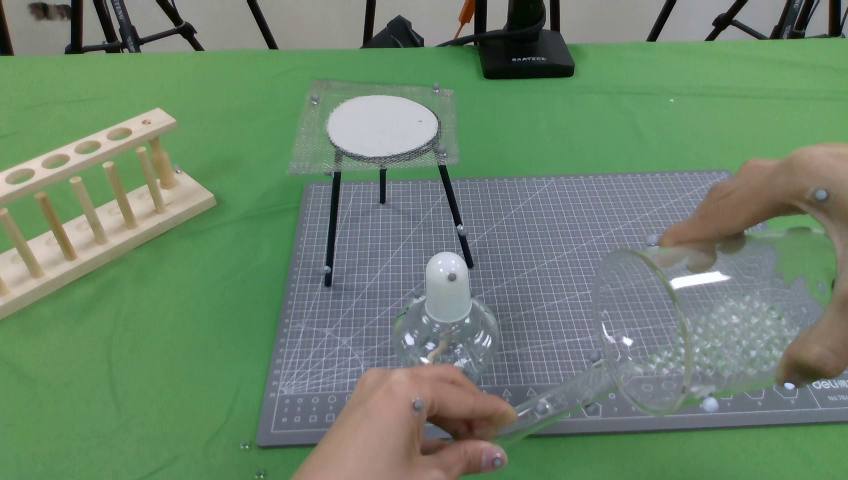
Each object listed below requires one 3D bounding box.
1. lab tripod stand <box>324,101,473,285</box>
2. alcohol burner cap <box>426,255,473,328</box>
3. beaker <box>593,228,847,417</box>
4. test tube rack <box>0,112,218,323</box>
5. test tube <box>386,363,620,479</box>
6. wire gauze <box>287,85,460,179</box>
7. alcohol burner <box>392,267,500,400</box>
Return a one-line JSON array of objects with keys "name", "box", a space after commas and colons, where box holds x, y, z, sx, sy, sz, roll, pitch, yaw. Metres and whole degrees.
[{"name": "lab tripod stand", "box": [-0.026, -0.038, 0.513, 0.148, 0.132, 0.147, 1, 41, -1]}, {"name": "alcohol burner cap", "box": [0.016, 0.031, 0.398, 0.034, 0.048, 0.033, -2, 42, 3]}, {"name": "beaker", "box": [0.140, 0.036, 0.280, 0.100, 0.084, 0.073, -9, 55, -12]}, {"name": "test tube rack", "box": [-0.314, -0.020, 0.534, 0.066, 0.086, 0.242, 33, 52, 31]}, {"name": "test tube", "box": [0.036, 0.107, 0.325, 0.150, 0.017, 0.017, -35, 38, 21]}, {"name": "wire gauze", "box": [-0.035, -0.086, 0.466, 0.121, 0.011, 0.124, 1, 43, 0]}, {"name": "alcohol burner", "box": [0.015, 0.058, 0.422, 0.078, 0.120, 0.077, 0, 44, 0]}]
